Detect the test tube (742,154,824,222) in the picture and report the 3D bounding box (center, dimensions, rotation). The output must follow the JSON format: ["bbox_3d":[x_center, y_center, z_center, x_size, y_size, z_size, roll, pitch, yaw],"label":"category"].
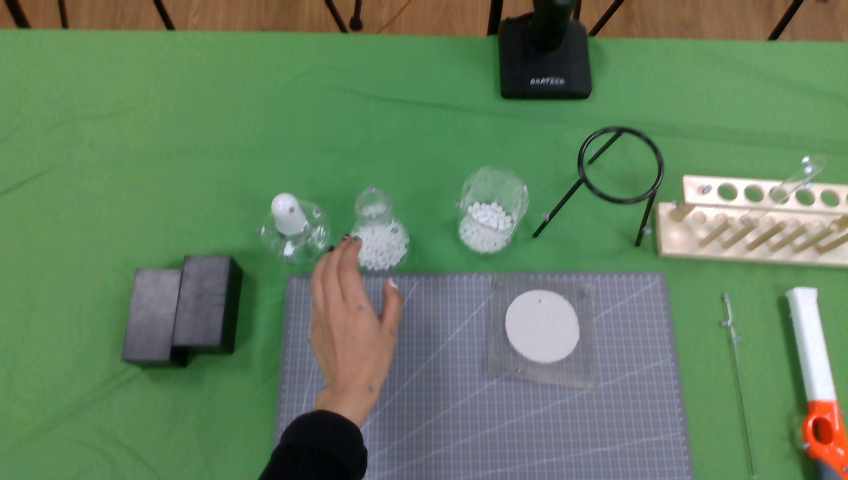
[{"bbox_3d":[0.391,-0.053,0.669,0.017,0.151,0.017,0,69,2],"label":"test tube"}]

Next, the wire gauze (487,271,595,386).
[{"bbox_3d":[0.136,0.099,0.698,0.125,0.011,0.120,8,70,-2],"label":"wire gauze"}]

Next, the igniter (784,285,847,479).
[{"bbox_3d":[0.439,0.184,0.668,0.057,0.025,0.274,5,70,-10],"label":"igniter"}]

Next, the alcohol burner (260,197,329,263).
[{"bbox_3d":[-0.148,-0.018,0.678,0.078,0.120,0.077,0,71,0],"label":"alcohol burner"}]

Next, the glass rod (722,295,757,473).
[{"bbox_3d":[0.355,0.158,0.685,0.008,0.008,0.198,1,70,-1],"label":"glass rod"}]

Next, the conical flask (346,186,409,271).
[{"bbox_3d":[-0.055,-0.017,0.676,0.075,0.122,0.075,1,70,-1],"label":"conical flask"}]

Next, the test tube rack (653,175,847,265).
[{"bbox_3d":[0.406,-0.021,0.710,0.242,0.086,0.066,3,69,0],"label":"test tube rack"}]

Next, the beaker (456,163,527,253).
[{"bbox_3d":[0.075,-0.029,0.697,0.074,0.101,0.083,-17,72,-7],"label":"beaker"}]

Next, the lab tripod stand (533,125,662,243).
[{"bbox_3d":[0.201,-0.057,0.692,0.148,0.132,0.147,0,72,-1],"label":"lab tripod stand"}]

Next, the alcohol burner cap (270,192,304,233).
[{"bbox_3d":[-0.148,-0.033,0.646,0.034,0.048,0.033,1,63,-2],"label":"alcohol burner cap"}]
